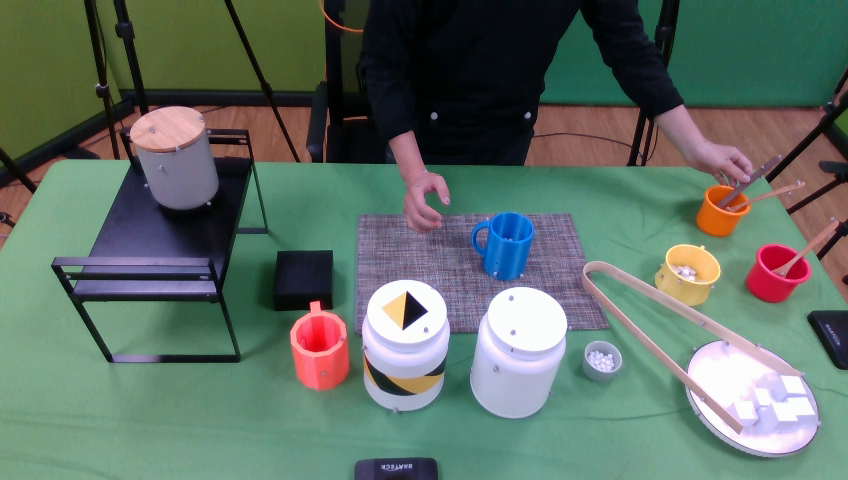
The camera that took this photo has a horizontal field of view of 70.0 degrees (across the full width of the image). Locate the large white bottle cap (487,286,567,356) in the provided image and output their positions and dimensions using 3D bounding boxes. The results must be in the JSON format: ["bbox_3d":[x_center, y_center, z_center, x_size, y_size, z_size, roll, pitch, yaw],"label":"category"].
[{"bbox_3d":[0.147,0.114,0.869,0.115,0.018,0.114,3,46,-3],"label":"large white bottle cap"}]

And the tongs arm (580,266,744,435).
[{"bbox_3d":[0.384,0.173,1.028,0.028,0.028,0.385,-25,46,-15],"label":"tongs arm"}]

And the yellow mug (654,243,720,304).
[{"bbox_3d":[0.504,0.054,1.155,0.099,0.064,0.130,28,49,22],"label":"yellow mug"}]

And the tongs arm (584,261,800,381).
[{"bbox_3d":[0.452,0.137,1.064,0.051,0.027,0.382,-34,50,-27],"label":"tongs arm"}]

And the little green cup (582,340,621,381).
[{"bbox_3d":[0.295,0.203,1.015,0.061,0.039,0.061,2,45,-2],"label":"little green cup"}]

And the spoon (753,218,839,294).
[{"bbox_3d":[0.700,0.031,1.138,0.194,0.022,0.041,-47,54,14],"label":"spoon"}]

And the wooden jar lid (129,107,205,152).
[{"bbox_3d":[-0.385,-0.163,0.915,0.108,0.021,0.107,2,47,-2],"label":"wooden jar lid"}]

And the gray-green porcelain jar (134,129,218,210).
[{"bbox_3d":[-0.388,-0.120,0.960,0.106,0.127,0.105,2,46,-2],"label":"gray-green porcelain jar"}]

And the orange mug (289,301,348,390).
[{"bbox_3d":[-0.170,0.162,0.976,0.083,0.101,0.125,-7,52,-11],"label":"orange mug"}]

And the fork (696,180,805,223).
[{"bbox_3d":[0.659,-0.078,1.233,0.207,0.019,0.028,-26,36,33],"label":"fork"}]

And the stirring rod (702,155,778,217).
[{"bbox_3d":[0.649,-0.110,1.246,0.006,0.176,0.014,14,38,-52],"label":"stirring rod"}]

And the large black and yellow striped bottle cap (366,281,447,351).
[{"bbox_3d":[-0.025,0.106,0.865,0.115,0.019,0.114,2,46,-1],"label":"large black and yellow striped bottle cap"}]

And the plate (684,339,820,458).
[{"bbox_3d":[0.523,0.256,0.982,0.208,0.039,0.206,2,46,-2],"label":"plate"}]

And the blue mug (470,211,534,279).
[{"bbox_3d":[0.141,0.005,1.140,0.116,0.106,0.082,18,48,13],"label":"blue mug"}]

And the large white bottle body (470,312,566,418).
[{"bbox_3d":[0.143,0.173,0.930,0.131,0.185,0.130,2,46,-2],"label":"large white bottle body"}]

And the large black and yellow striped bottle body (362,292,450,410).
[{"bbox_3d":[-0.029,0.163,0.928,0.131,0.185,0.130,2,47,-2],"label":"large black and yellow striped bottle body"}]
